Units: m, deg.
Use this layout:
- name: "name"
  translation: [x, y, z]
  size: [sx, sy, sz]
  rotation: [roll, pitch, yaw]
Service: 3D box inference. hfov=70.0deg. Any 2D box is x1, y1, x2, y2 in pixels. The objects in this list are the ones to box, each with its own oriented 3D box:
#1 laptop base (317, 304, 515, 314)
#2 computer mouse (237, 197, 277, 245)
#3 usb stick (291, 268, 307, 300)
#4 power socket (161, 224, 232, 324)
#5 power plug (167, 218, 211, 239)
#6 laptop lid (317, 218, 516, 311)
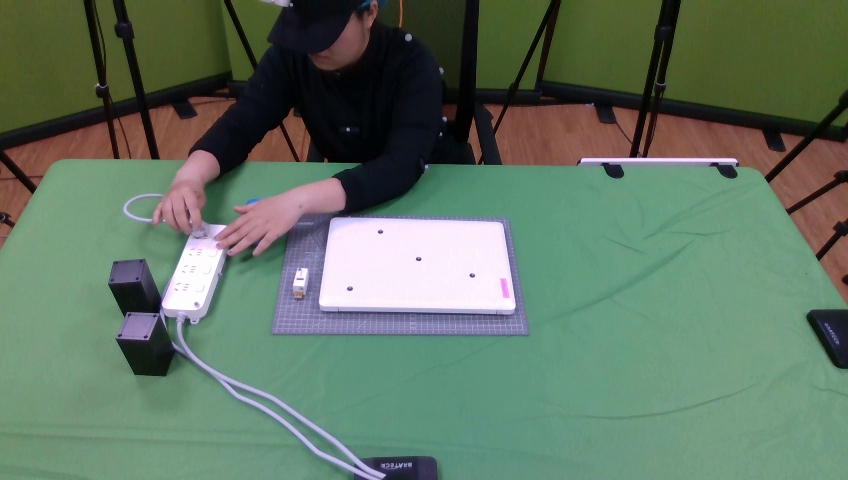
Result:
- name: "laptop base"
  translation: [-0.014, 0.050, 1.150]
  size: [0.354, 0.023, 0.234]
  rotation: [1, 42, -3]
- name: "computer mouse"
  translation: [-0.329, -0.041, 1.200]
  size: [0.063, 0.041, 0.116]
  rotation: [6, 52, -7]
- name: "usb stick"
  translation: [-0.227, 0.081, 1.094]
  size: [0.021, 0.027, 0.059]
  rotation: [5, 48, -2]
- name: "power socket"
  translation: [-0.412, 0.052, 1.106]
  size: [0.072, 0.033, 0.225]
  rotation: [4, 46, -2]
- name: "power plug"
  translation: [-0.436, -0.018, 1.141]
  size: [0.072, 0.053, 0.035]
  rotation: [-2, 43, 18]
- name: "laptop lid"
  translation: [-0.013, 0.040, 1.143]
  size: [0.357, 0.013, 0.240]
  rotation: [3, 43, -2]
